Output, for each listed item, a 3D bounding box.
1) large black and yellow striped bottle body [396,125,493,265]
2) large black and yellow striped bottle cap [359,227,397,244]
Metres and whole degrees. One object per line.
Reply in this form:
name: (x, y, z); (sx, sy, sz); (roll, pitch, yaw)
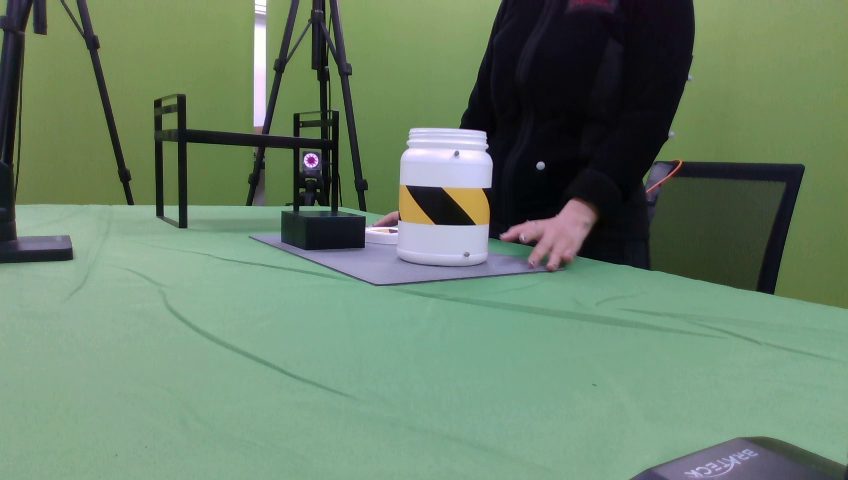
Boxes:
large black and yellow striped bottle body: (0.029, -0.065, 0.847); (0.131, 0.184, 0.130); (3, 7, 0)
large black and yellow striped bottle cap: (-0.056, -0.010, 1.053); (0.115, 0.019, 0.115); (1, 7, 0)
